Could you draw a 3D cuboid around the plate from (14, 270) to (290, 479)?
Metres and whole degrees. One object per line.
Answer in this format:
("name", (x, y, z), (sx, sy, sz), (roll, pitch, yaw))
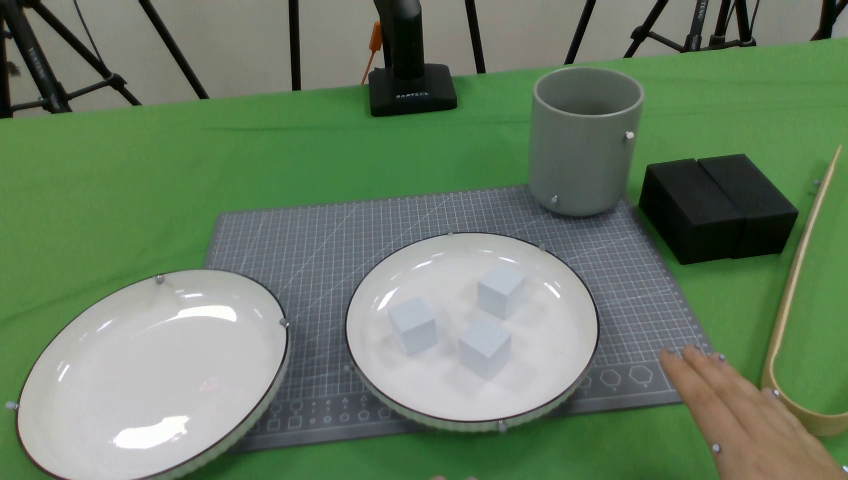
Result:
("plate", (-0.209, 0.108, 0.490), (0.209, 0.038, 0.207), (-3, 41, 3))

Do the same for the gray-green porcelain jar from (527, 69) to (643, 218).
("gray-green porcelain jar", (0.161, -0.095, 0.625), (0.106, 0.127, 0.105), (-2, 41, 3))

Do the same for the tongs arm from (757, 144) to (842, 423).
("tongs arm", (0.360, 0.013, 0.564), (0.028, 0.028, 0.386), (23, 48, 25))

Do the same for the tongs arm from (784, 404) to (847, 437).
("tongs arm", (0.420, 0.043, 0.519), (0.385, 0.027, 0.050), (-34, 49, -29))

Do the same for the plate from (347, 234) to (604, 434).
("plate", (0.041, 0.074, 0.507), (0.207, 0.039, 0.205), (-2, 41, 2))
